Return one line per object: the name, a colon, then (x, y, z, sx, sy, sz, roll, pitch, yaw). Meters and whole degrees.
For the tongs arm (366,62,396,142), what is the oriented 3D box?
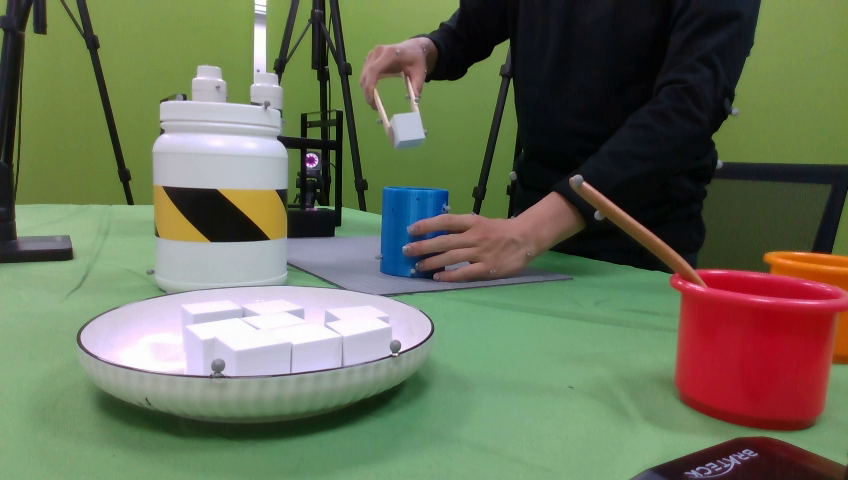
tongs arm: (-0.062, -0.209, 0.873, 0.028, 0.028, 0.386, -15, 27, -2)

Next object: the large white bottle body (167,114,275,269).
large white bottle body: (-0.257, -0.063, 0.772, 0.131, 0.184, 0.130, 2, 7, 0)

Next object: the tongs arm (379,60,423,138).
tongs arm: (-0.040, -0.214, 0.875, 0.051, 0.026, 0.384, -9, 27, 0)

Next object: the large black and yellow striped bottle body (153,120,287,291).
large black and yellow striped bottle body: (-0.208, -0.042, 0.626, 0.131, 0.184, 0.130, 2, 7, 0)

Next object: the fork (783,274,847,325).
fork: (0.332, 0.018, 0.443, 0.028, 0.018, 0.207, -1, -36, -15)

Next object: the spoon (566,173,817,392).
spoon: (0.161, 0.024, 0.370, 0.193, 0.021, 0.042, 47, 18, 3)

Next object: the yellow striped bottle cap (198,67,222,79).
yellow striped bottle cap: (-0.411, -0.320, 1.163, 0.044, 0.018, 0.044, 0, 6, 0)

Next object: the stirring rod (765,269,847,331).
stirring rod: (0.352, 0.020, 0.484, 0.176, 0.006, 0.014, -40, -6, 13)

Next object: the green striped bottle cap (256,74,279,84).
green striped bottle cap: (-0.314, -0.321, 1.214, 0.044, 0.020, 0.044, 2, 9, 0)

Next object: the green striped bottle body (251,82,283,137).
green striped bottle body: (-0.317, -0.270, 1.220, 0.063, 0.119, 0.063, 2, 7, 0)

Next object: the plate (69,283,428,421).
plate: (-0.102, 0.066, 0.381, 0.208, 0.039, 0.207, 2, 7, 0)

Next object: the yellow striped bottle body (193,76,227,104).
yellow striped bottle body: (-0.414, -0.268, 1.169, 0.063, 0.120, 0.063, 2, 7, 0)

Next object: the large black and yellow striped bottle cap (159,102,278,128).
large black and yellow striped bottle cap: (-0.207, -0.125, 0.615, 0.115, 0.019, 0.115, 2, 6, 0)

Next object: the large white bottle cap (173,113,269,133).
large white bottle cap: (-0.254, -0.146, 0.760, 0.115, 0.018, 0.115, 1, 7, 0)

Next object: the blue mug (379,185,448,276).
blue mug: (-0.020, -0.016, 0.763, 0.083, 0.106, 0.116, -2, 8, -27)
